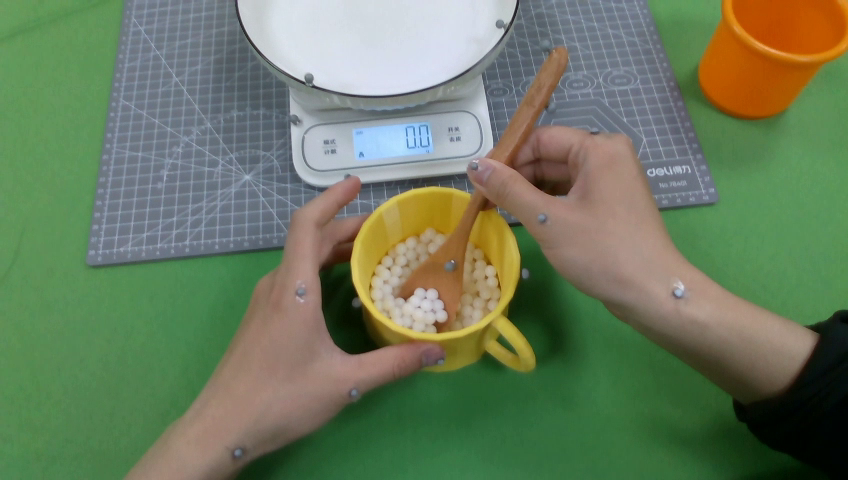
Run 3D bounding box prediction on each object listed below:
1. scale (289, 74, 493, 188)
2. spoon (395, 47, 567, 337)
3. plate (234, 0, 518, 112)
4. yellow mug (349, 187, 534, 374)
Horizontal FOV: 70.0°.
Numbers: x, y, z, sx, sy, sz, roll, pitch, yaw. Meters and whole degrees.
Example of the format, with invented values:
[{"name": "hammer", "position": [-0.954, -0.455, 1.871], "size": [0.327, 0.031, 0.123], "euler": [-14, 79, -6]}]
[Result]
[{"name": "scale", "position": [-0.032, -0.137, 0.475], "size": [0.149, 0.032, 0.199], "euler": [-6, 64, -2]}, {"name": "spoon", "position": [0.033, -0.021, 0.356], "size": [0.041, 0.194, 0.022], "euler": [38, 25, 25]}, {"name": "plate", "position": [-0.035, -0.177, 0.459], "size": [0.209, 0.038, 0.207], "euler": [0, 64, 0]}, {"name": "yellow mug", "position": [0.018, 0.035, 0.376], "size": [0.130, 0.064, 0.100], "euler": [41, 72, 18]}]
